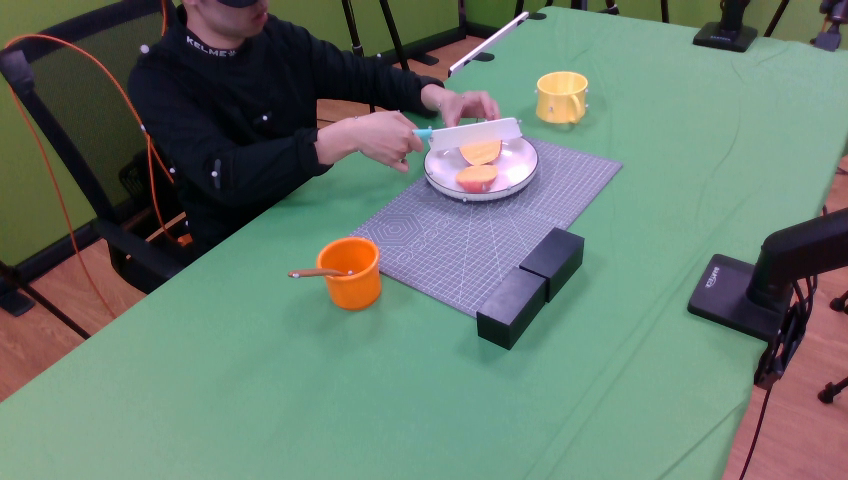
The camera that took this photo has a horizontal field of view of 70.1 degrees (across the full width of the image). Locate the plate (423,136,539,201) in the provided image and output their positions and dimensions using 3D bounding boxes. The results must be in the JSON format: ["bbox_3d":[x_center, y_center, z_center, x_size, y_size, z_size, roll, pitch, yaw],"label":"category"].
[{"bbox_3d":[0.102,-0.132,1.092,0.209,0.038,0.208,-4,40,4],"label":"plate"}]

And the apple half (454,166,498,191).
[{"bbox_3d":[0.095,-0.104,1.052,0.081,0.033,0.081,-7,23,4],"label":"apple half"}]

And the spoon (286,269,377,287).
[{"bbox_3d":[-0.125,0.050,0.831,0.041,0.195,0.021,20,92,28],"label":"spoon"}]

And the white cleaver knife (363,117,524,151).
[{"bbox_3d":[0.030,-0.176,1.060,0.286,0.066,0.021,-5,61,12],"label":"white cleaver knife"}]

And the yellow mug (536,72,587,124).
[{"bbox_3d":[0.284,-0.281,1.222,0.100,0.064,0.130,-16,42,-9],"label":"yellow mug"}]

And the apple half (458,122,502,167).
[{"bbox_3d":[0.106,-0.171,1.101,0.080,0.074,0.053,-21,-5,13],"label":"apple half"}]
